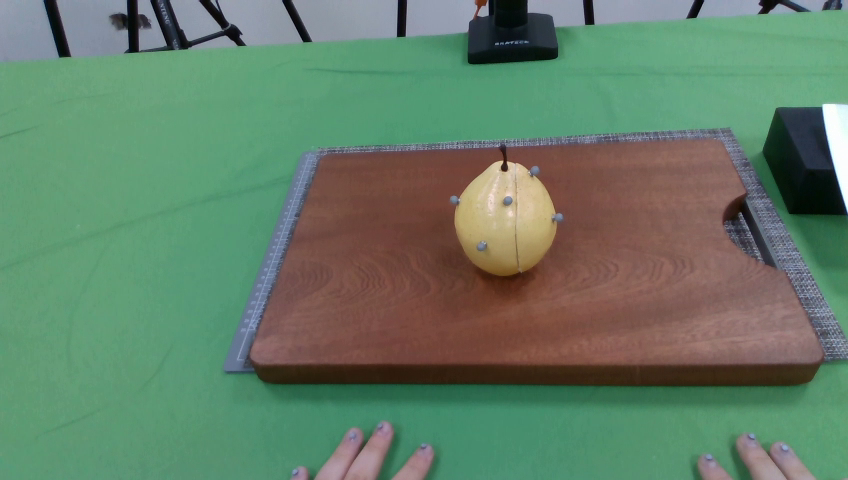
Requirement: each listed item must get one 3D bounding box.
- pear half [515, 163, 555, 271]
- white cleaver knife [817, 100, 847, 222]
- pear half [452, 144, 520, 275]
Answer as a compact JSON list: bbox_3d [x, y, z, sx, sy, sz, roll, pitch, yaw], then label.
[{"bbox_3d":[0.084,-0.018,0.463,0.031,0.089,0.070,-1,35,7],"label":"pear half"},{"bbox_3d":[0.364,-0.008,0.470,0.066,0.022,0.284,0,54,13],"label":"white cleaver knife"},{"bbox_3d":[0.048,-0.026,0.462,0.056,0.111,0.075,-1,39,7],"label":"pear half"}]
